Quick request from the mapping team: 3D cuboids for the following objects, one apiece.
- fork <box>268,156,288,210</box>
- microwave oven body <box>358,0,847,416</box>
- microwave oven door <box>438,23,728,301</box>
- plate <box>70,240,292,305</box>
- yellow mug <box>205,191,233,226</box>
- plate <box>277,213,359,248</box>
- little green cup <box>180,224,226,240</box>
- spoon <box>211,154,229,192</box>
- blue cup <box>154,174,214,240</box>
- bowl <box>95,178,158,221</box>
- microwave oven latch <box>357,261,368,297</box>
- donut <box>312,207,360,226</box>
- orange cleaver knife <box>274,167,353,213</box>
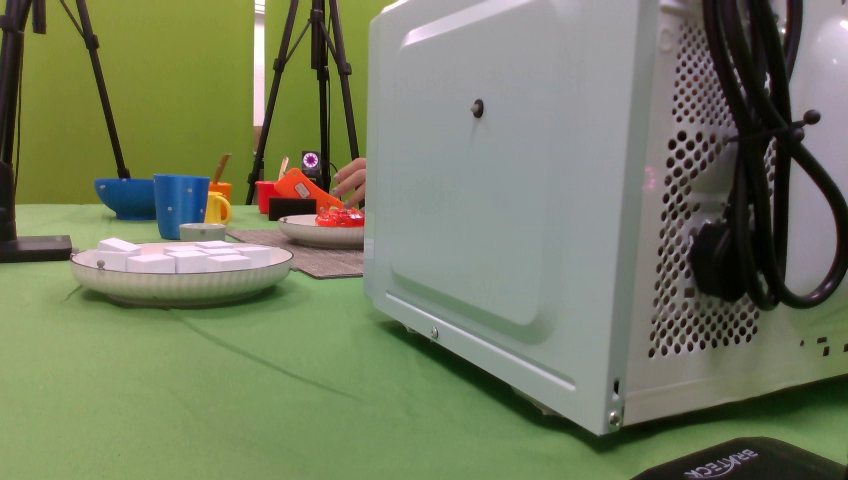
[{"bbox_3d":[-0.360,-0.144,1.508,0.028,0.018,0.207,2,49,0],"label":"fork"},{"bbox_3d":[0.211,-0.047,0.474,0.444,0.260,0.324,-1,7,-28],"label":"microwave oven body"},{"bbox_3d":[0.181,-0.072,0.620,0.358,0.243,0.039,-2,8,-29],"label":"microwave oven door"},{"bbox_3d":[-0.242,0.031,0.618,0.208,0.039,0.207,2,8,0],"label":"plate"},{"bbox_3d":[-0.415,-0.057,1.131,0.130,0.064,0.100,6,8,16],"label":"yellow mug"},{"bbox_3d":[-0.135,-0.017,0.992,0.209,0.038,0.209,2,8,0],"label":"plate"},{"bbox_3d":[-0.309,-0.001,0.846,0.061,0.038,0.061,2,8,0],"label":"little green cup"},{"bbox_3d":[-0.431,-0.115,1.253,0.042,0.193,0.021,-3,54,-33],"label":"spoon"},{"bbox_3d":[-0.391,-0.053,0.978,0.093,0.100,0.092,3,6,0],"label":"blue cup"},{"bbox_3d":[-0.576,-0.081,1.217,0.151,0.077,0.151,3,8,0],"label":"bowl"},{"bbox_3d":[-0.019,0.033,0.531,0.079,0.029,0.030,-1,7,-27],"label":"microwave oven latch"},{"bbox_3d":[-0.134,-0.029,0.996,0.099,0.048,0.099,3,10,0],"label":"donut"},{"bbox_3d":[-0.238,-0.090,1.381,0.212,0.077,0.012,31,0,-19],"label":"orange cleaver knife"}]
